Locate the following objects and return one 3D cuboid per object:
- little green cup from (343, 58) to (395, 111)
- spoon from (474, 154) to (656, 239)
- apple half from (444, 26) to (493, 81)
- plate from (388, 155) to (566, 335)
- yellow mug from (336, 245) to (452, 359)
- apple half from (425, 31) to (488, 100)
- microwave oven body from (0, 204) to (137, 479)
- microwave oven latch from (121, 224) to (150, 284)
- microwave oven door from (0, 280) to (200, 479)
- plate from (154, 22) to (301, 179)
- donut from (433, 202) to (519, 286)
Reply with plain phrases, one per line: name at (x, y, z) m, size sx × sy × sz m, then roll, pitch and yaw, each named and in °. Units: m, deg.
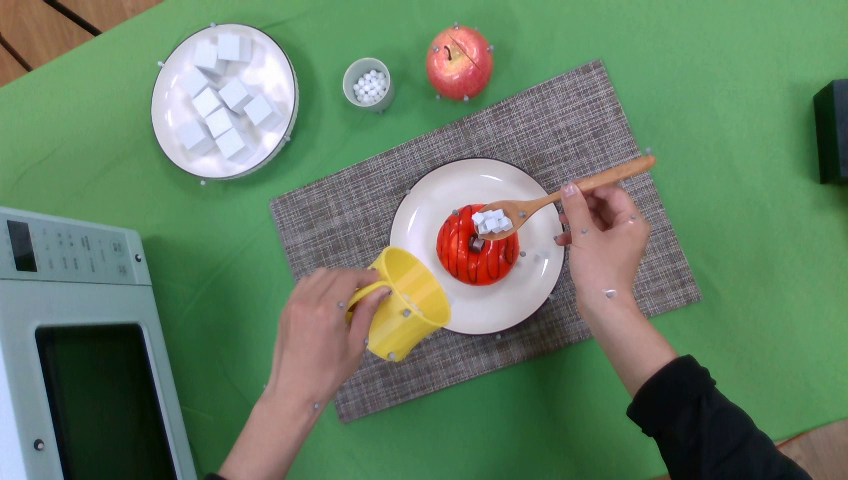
little green cup at (-0.066, -0.192, 0.761) m, size 0.061 × 0.039 × 0.061 m, roll -1°, pitch 85°, yaw 13°
spoon at (0.131, -0.042, 0.591) m, size 0.193 × 0.022 × 0.041 m, roll -21°, pitch 76°, yaw 39°
apple half at (0.060, -0.225, 0.716) m, size 0.033 × 0.081 × 0.081 m, roll -42°, pitch 77°, yaw 10°
plate at (0.061, 0.006, 0.712) m, size 0.208 × 0.038 × 0.208 m, roll -1°, pitch 85°, yaw 13°
yellow mug at (-0.036, 0.061, 0.602) m, size 0.064 × 0.132 × 0.099 m, roll -40°, pitch 67°, yaw 21°
apple half at (0.032, -0.199, 0.722) m, size 0.053 × 0.075 × 0.080 m, roll -42°, pitch 81°, yaw 11°
microwave oven body at (-0.495, 0.224, 0.703) m, size 0.326 × 0.261 × 0.440 m, roll -18°, pitch 82°, yaw 10°
microwave oven latch at (-0.386, 0.020, 0.795) m, size 0.030 × 0.029 × 0.079 m, roll -17°, pitch 83°, yaw 10°
microwave oven door at (-0.348, 0.219, 0.666) m, size 0.039 × 0.245 × 0.354 m, roll -19°, pitch 81°, yaw 10°
plate at (-0.256, -0.181, 0.802) m, size 0.207 × 0.039 × 0.207 m, roll -1°, pitch 85°, yaw 13°
donut at (0.060, 0.004, 0.700) m, size 0.099 × 0.048 × 0.099 m, roll -1°, pitch 86°, yaw 13°
